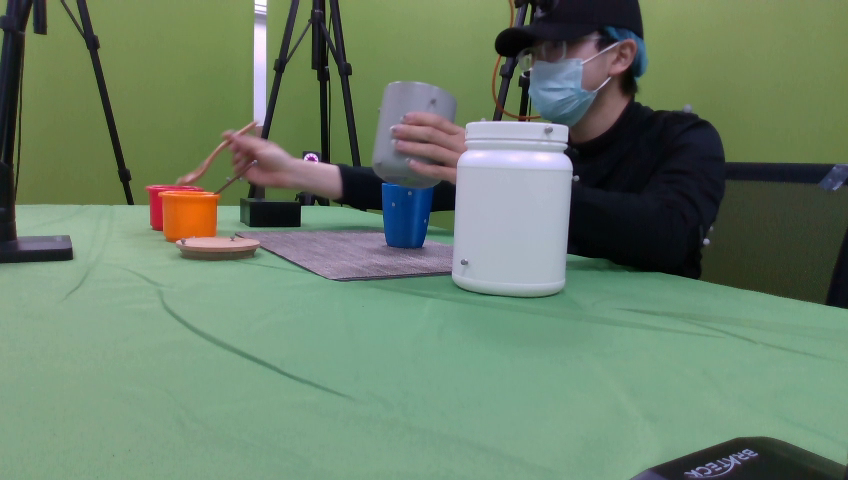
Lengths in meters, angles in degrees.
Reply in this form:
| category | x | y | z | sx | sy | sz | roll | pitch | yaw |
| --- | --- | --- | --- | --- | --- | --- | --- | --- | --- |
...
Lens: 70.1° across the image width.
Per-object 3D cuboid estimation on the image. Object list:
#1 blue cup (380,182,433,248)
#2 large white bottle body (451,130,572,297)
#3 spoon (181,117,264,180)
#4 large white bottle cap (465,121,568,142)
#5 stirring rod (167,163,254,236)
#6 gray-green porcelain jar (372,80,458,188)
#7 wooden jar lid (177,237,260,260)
| category | x | y | z | sx | sy | sz | roll | pitch | yaw |
| --- | --- | --- | --- | --- | --- | --- | --- | --- | --- |
| blue cup | -0.030 | -0.041 | 0.979 | 0.093 | 0.100 | 0.092 | 3 | 9 | 0 |
| large white bottle body | 0.099 | -0.037 | 0.688 | 0.131 | 0.184 | 0.130 | 2 | 7 | 0 |
| spoon | -0.368 | -0.171 | 1.115 | 0.041 | 0.022 | 0.194 | 12 | 54 | 48 |
| large white bottle cap | 0.103 | -0.121 | 0.677 | 0.115 | 0.018 | 0.115 | 3 | 7 | 0 |
| stirring rod | -0.341 | -0.066 | 0.967 | 0.176 | 0.006 | 0.014 | -42 | 24 | -9 |
| gray-green porcelain jar | -0.014 | -0.143 | 0.846 | 0.106 | 0.126 | 0.106 | 9 | -8 | 2 |
| wooden jar lid | -0.283 | 0.011 | 0.833 | 0.108 | 0.020 | 0.108 | 1 | 8 | 0 |
